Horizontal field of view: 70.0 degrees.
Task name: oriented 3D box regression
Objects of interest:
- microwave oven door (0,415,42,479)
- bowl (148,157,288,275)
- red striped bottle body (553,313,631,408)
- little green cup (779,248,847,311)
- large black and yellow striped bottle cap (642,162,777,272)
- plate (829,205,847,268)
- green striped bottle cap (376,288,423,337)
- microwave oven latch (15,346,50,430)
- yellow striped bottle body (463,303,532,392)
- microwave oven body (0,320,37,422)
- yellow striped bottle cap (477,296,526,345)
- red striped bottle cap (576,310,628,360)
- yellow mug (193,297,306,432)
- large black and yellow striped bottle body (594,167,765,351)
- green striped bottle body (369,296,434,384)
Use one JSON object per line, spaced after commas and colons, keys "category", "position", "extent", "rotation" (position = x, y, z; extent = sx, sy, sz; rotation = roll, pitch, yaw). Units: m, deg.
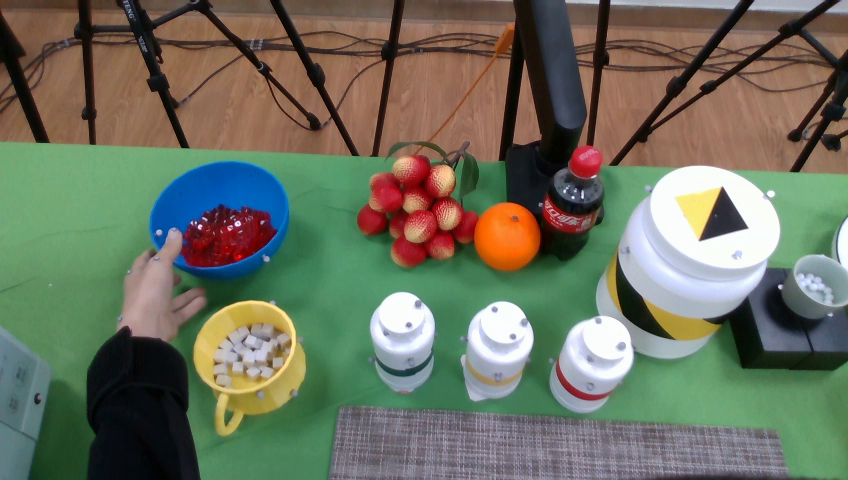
{"category": "microwave oven door", "position": [-0.368, 0.274, 0.395], "extent": [0.039, 0.246, 0.352], "rotation": [-6, 57, -3]}
{"category": "bowl", "position": [-0.228, -0.014, 0.702], "extent": [0.151, 0.077, 0.150], "rotation": [1, 57, -1]}
{"category": "red striped bottle body", "position": [0.165, 0.116, 0.598], "extent": [0.063, 0.121, 0.062], "rotation": [-2, 55, 3]}
{"category": "little green cup", "position": [0.408, 0.043, 0.636], "extent": [0.061, 0.039, 0.061], "rotation": [1, 56, -1]}
{"category": "large black and yellow striped bottle cap", "position": [0.259, -0.024, 0.551], "extent": [0.115, 0.019, 0.114], "rotation": [0, 56, 0]}
{"category": "plate", "position": [0.576, 0.035, 0.705], "extent": [0.209, 0.038, 0.207], "rotation": [0, 58, 0]}
{"category": "green striped bottle cap", "position": [-0.023, 0.067, 0.565], "extent": [0.044, 0.020, 0.044], "rotation": [1, 56, -1]}
{"category": "microwave oven latch", "position": [-0.394, 0.147, 0.597], "extent": [0.030, 0.030, 0.078], "rotation": [-4, 58, -4]}
{"category": "yellow striped bottle body", "position": [0.072, 0.103, 0.605], "extent": [0.063, 0.121, 0.062], "rotation": [0, 57, 1]}
{"category": "microwave oven body", "position": [-0.519, 0.256, 0.411], "extent": [0.326, 0.262, 0.437], "rotation": [-6, 58, -5]}
{"category": "yellow striped bottle cap", "position": [0.072, 0.074, 0.562], "extent": [0.044, 0.019, 0.044], "rotation": [1, 58, 0]}
{"category": "red striped bottle cap", "position": [0.163, 0.086, 0.554], "extent": [0.044, 0.018, 0.044], "rotation": [3, 56, -4]}
{"category": "yellow mug", "position": [-0.181, 0.130, 0.617], "extent": [0.100, 0.064, 0.130], "rotation": [10, 58, 8]}
{"category": "large black and yellow striped bottle body", "position": [0.260, 0.021, 0.622], "extent": [0.131, 0.185, 0.129], "rotation": [0, 57, 0]}
{"category": "green striped bottle body", "position": [-0.022, 0.096, 0.609], "extent": [0.063, 0.120, 0.062], "rotation": [0, 57, 0]}
